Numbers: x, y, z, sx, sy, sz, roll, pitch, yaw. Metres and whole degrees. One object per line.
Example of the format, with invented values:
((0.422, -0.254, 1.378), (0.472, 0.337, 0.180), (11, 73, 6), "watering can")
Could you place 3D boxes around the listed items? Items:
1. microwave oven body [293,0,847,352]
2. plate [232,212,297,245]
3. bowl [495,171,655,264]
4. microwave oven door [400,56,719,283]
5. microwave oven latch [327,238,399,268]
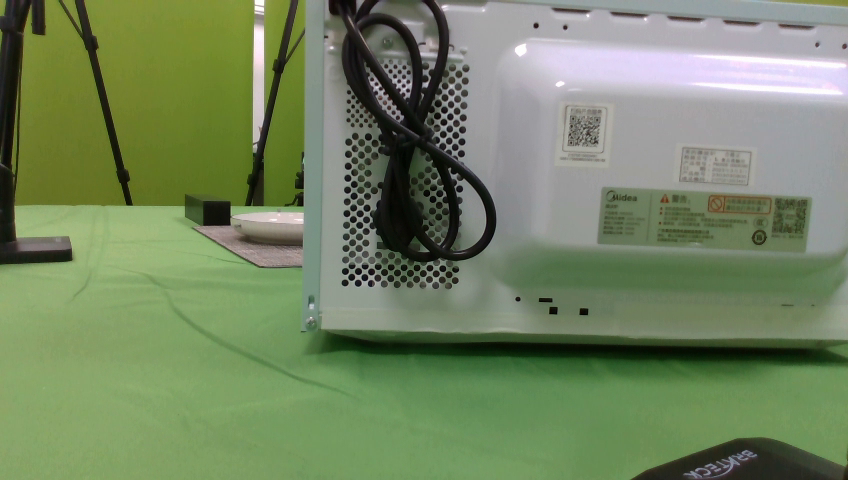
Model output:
((0.122, -0.055, 0.550), (0.442, 0.260, 0.325), (3, 7, -5), "microwave oven body")
((-0.214, -0.019, 1.018), (0.208, 0.039, 0.207), (3, 7, 0), "plate")
((0.144, -0.023, 0.592), (0.151, 0.077, 0.151), (1, 11, 0), "bowl")
((0.155, -0.077, 0.698), (0.356, 0.243, 0.039), (2, 8, -5), "microwave oven door")
((-0.069, 0.015, 0.694), (0.079, 0.029, 0.030), (3, 7, -3), "microwave oven latch")
